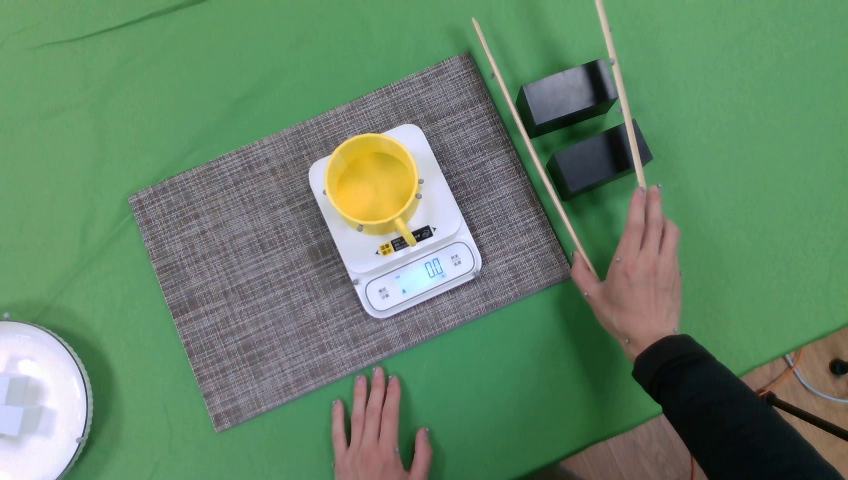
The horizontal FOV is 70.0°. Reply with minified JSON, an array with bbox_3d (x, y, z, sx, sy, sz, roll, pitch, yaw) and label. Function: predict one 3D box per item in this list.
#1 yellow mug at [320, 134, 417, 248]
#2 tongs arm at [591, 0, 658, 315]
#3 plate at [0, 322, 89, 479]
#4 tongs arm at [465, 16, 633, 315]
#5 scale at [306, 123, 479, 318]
[{"bbox_3d":[-0.050,-0.046,0.661,0.100,0.064,0.130,-34,84,-4],"label":"yellow mug"},{"bbox_3d":[0.202,-0.111,0.661,0.050,0.026,0.384,-15,88,19],"label":"tongs arm"},{"bbox_3d":[-0.478,0.197,0.684,0.208,0.039,0.207,0,82,1],"label":"plate"},{"bbox_3d":[0.135,-0.087,0.687,0.028,0.028,0.386,-27,84,15],"label":"tongs arm"},{"bbox_3d":[-0.038,-0.024,0.705,0.149,0.031,0.200,-24,83,-2],"label":"scale"}]
